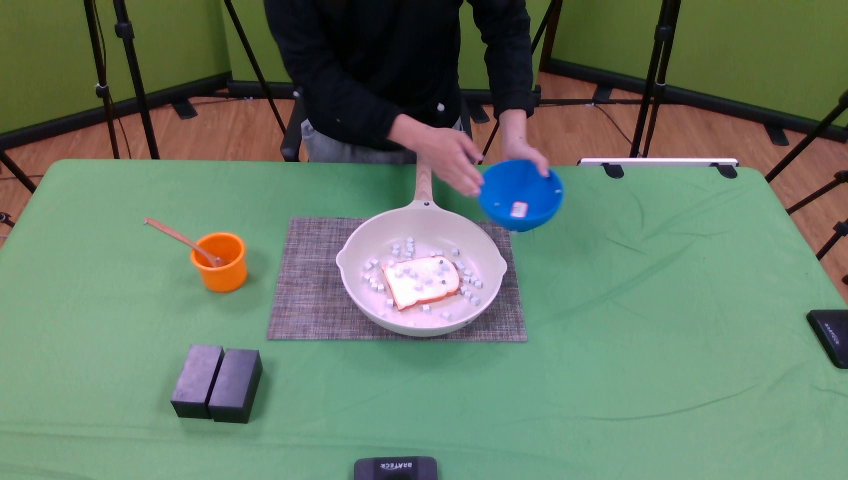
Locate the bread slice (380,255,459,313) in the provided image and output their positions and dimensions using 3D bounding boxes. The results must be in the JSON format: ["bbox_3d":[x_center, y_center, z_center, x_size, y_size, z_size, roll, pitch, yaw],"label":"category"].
[{"bbox_3d":[-0.005,0.075,1.119,0.134,0.018,0.106,-16,50,-16],"label":"bread slice"}]

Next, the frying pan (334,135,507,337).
[{"bbox_3d":[-0.004,-0.026,1.160,0.307,0.103,0.485,4,55,-2],"label":"frying pan"}]

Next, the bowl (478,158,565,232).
[{"bbox_3d":[0.172,-0.068,1.083,0.151,0.077,0.150,-2,51,3],"label":"bowl"}]

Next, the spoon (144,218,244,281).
[{"bbox_3d":[-0.401,0.015,1.064,0.195,0.021,0.041,41,36,-29],"label":"spoon"}]
